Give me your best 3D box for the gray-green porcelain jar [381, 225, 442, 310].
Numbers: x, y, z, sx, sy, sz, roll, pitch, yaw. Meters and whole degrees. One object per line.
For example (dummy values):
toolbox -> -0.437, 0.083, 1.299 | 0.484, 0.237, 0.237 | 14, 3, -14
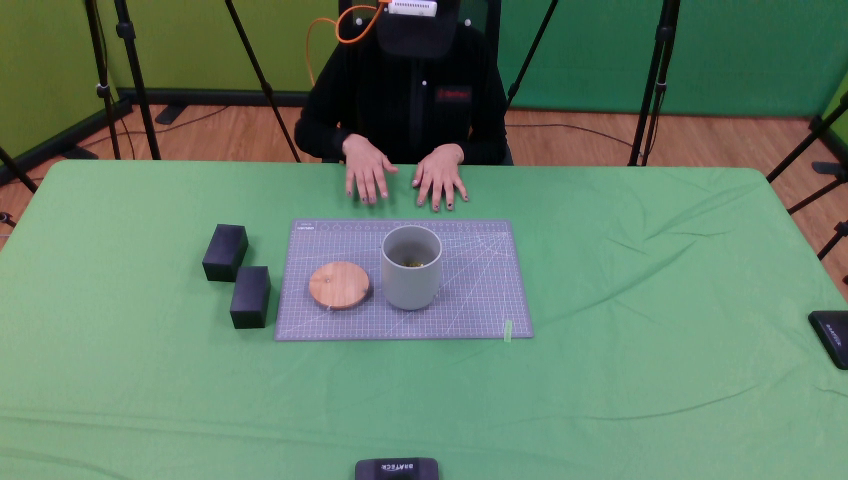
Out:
gray-green porcelain jar -> -0.023, 0.053, 1.068 | 0.106, 0.127, 0.105 | 2, 46, -2

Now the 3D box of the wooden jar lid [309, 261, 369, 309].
wooden jar lid -> -0.155, 0.084, 1.104 | 0.108, 0.021, 0.107 | 3, 47, -3
